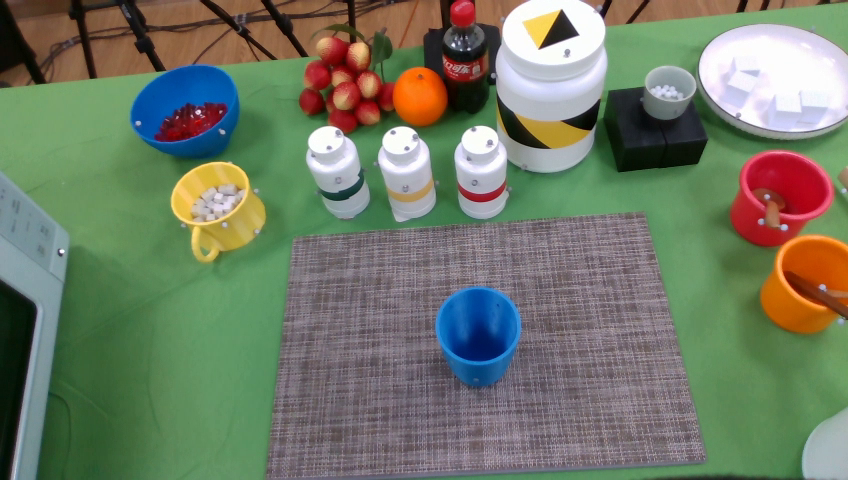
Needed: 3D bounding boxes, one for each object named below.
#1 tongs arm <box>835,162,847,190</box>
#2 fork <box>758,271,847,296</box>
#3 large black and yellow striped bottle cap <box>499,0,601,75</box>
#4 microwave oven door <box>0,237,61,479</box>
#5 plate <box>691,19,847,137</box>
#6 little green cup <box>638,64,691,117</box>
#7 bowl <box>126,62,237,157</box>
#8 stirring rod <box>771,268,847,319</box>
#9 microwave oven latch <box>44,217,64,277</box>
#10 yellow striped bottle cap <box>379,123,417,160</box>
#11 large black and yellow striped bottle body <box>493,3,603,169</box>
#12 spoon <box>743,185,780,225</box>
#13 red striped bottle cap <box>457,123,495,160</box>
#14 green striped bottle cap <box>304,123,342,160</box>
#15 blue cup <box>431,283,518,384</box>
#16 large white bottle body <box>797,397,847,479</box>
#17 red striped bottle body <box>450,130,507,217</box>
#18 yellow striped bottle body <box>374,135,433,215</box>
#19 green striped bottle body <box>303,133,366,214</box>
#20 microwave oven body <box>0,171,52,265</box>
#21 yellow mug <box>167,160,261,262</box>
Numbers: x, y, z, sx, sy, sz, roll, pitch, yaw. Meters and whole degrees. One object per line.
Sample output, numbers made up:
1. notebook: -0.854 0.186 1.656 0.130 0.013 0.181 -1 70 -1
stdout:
1. tongs arm: 0.578 0.061 0.645 0.051 0.027 0.381 -14 59 -5
2. fork: 0.429 0.055 0.599 0.028 0.019 0.206 -28 15 -19
3. large black and yellow striped bottle cap: 0.142 -0.235 0.689 0.115 0.019 0.114 -3 57 5
4. microwave oven door: -0.453 0.139 0.574 0.039 0.246 0.352 -13 58 -1
5. plate: 0.470 -0.218 0.826 0.209 0.038 0.207 -3 59 5
6. little green cup: 0.302 -0.188 0.767 0.061 0.039 0.061 -2 57 4
7. bowl: -0.332 -0.172 0.867 0.151 0.077 0.150 -2 59 4
8. stirring rod: 0.400 0.057 0.610 0.014 0.006 0.175 -2 15 3
9. microwave oven latch: -0.482 0.011 0.775 0.030 0.030 0.078 -12 59 -1
10. yellow striped bottle cap: -0.031 -0.116 0.712 0.044 0.019 0.044 -2 60 4
11. large black and yellow striped bottle body: 0.152 -0.192 0.761 0.130 0.185 0.129 -3 59 5
12. spoon: 0.375 -0.040 0.667 0.041 0.194 0.022 26 110 21
13. red striped bottle cap: 0.060 -0.114 0.700 0.044 0.018 0.044 -1 57 2
14. green striped bottle cap: -0.121 -0.117 0.723 0.044 0.020 0.044 -2 58 4
15. blue cup: 0.053 0.106 0.635 0.092 0.101 0.092 -2 58 4
16. large white bottle body: 0.415 0.179 0.504 0.130 0.186 0.129 -3 58 5
17. red striped bottle body: 0.068 -0.086 0.744 0.063 0.121 0.062 -5 56 8
18. yellow striped bottle body: -0.026 -0.089 0.756 0.063 0.121 0.062 -3 58 6
19. green striped bottle body: -0.114 -0.090 0.767 0.063 0.120 0.062 -3 58 5
20. microwave oven body: -0.604 0.138 0.598 0.326 0.262 0.437 -12 59 -2
21. yellow mug: -0.274 -0.033 0.782 0.100 0.064 0.130 5 60 8
